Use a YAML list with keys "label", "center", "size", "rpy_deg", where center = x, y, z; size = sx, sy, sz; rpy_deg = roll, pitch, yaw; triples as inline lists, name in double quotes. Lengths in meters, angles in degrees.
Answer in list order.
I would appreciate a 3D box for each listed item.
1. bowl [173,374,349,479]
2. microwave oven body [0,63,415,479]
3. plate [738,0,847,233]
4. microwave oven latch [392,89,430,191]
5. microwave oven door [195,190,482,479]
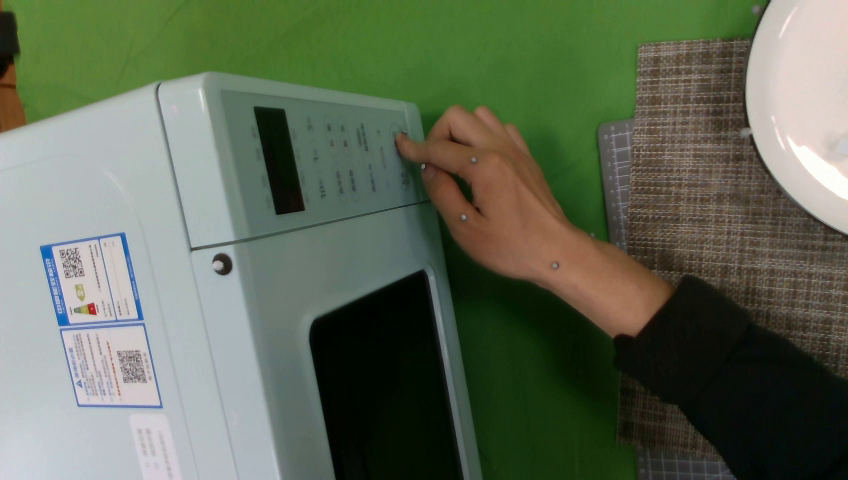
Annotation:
- label: "bowl"
  center: [-0.117, 0.172, 0.492]
  size: [0.150, 0.077, 0.152]
  rpy_deg: [4, 101, 22]
- label: "microwave oven body"
  center: [-0.162, 0.128, 0.468]
  size: [0.325, 0.260, 0.442]
  rpy_deg: [-7, 98, 24]
- label: "plate"
  center: [0.297, -0.099, 0.349]
  size: [0.208, 0.038, 0.209]
  rpy_deg: [4, 100, 23]
- label: "microwave oven latch"
  center: [-0.018, -0.077, 0.474]
  size: [0.030, 0.029, 0.079]
  rpy_deg: [-8, 98, 24]
- label: "microwave oven door"
  center: [-0.024, 0.154, 0.409]
  size: [0.039, 0.244, 0.356]
  rpy_deg: [-7, 97, 25]
